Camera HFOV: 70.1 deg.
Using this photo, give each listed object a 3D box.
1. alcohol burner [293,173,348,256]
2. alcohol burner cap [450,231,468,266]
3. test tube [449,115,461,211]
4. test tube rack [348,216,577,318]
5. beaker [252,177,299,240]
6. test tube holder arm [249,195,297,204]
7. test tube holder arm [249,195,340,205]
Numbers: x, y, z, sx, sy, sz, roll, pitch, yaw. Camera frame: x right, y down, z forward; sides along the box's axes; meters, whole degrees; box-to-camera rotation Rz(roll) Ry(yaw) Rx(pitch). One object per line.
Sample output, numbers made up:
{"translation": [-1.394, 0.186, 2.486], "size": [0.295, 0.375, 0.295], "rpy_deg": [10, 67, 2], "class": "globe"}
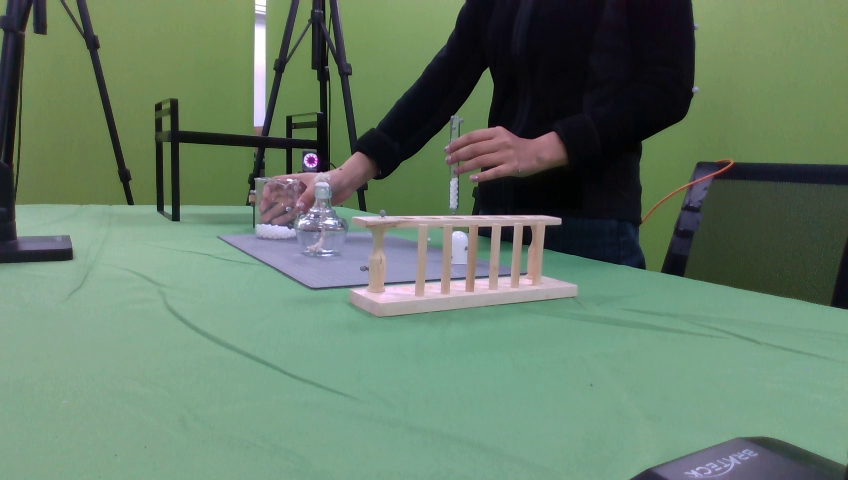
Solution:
{"translation": [-0.147, -0.036, 0.859], "size": [0.078, 0.119, 0.078], "rpy_deg": [4, 8, 0], "class": "alcohol burner"}
{"translation": [0.046, 0.012, 0.839], "size": [0.034, 0.048, 0.034], "rpy_deg": [3, 5, 0], "class": "alcohol burner cap"}
{"translation": [0.048, -0.121, 0.948], "size": [0.017, 0.150, 0.017], "rpy_deg": [1, -1, 0], "class": "test tube"}
{"translation": [0.048, 0.021, 0.619], "size": [0.244, 0.085, 0.066], "rpy_deg": [-2, 9, -31], "class": "test tube rack"}
{"translation": [-0.245, -0.053, 1.005], "size": [0.074, 0.100, 0.083], "rpy_deg": [-3, 11, -31], "class": "beaker"}
{"translation": [-0.284, -0.076, 1.141], "size": [0.088, 0.015, 0.010], "rpy_deg": [0, 9, -29], "class": "test tube holder arm"}
{"translation": [-0.247, -0.077, 1.168], "size": [0.179, 0.015, 0.013], "rpy_deg": [0, 9, -31], "class": "test tube holder arm"}
